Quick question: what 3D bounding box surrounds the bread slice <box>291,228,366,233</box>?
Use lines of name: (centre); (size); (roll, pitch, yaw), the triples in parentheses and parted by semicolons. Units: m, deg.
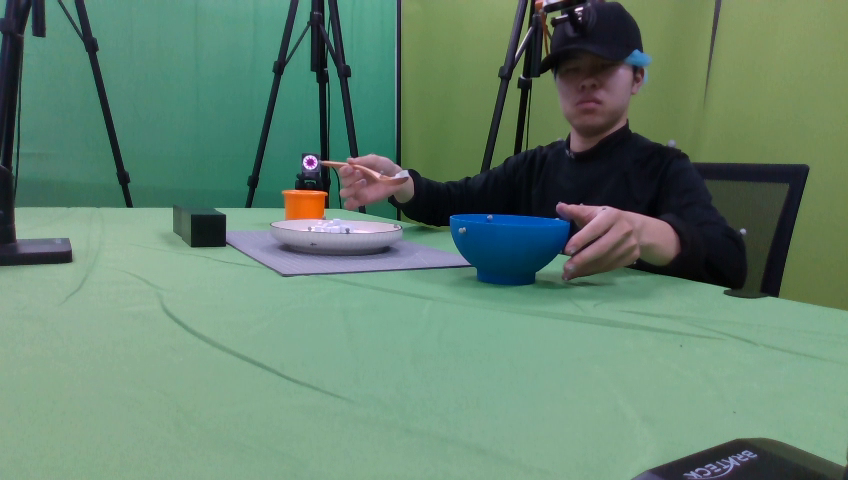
bread slice: (-0.143, -0.003, 0.953); (0.135, 0.018, 0.106); (-1, 8, -37)

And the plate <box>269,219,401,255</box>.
plate: (-0.140, -0.006, 0.958); (0.209, 0.038, 0.209); (3, 7, 0)

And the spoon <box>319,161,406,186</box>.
spoon: (-0.109, -0.118, 1.030); (0.193, 0.021, 0.042); (20, 21, 34)

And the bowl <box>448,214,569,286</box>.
bowl: (0.103, 0.012, 0.758); (0.151, 0.077, 0.151); (2, 7, 0)
